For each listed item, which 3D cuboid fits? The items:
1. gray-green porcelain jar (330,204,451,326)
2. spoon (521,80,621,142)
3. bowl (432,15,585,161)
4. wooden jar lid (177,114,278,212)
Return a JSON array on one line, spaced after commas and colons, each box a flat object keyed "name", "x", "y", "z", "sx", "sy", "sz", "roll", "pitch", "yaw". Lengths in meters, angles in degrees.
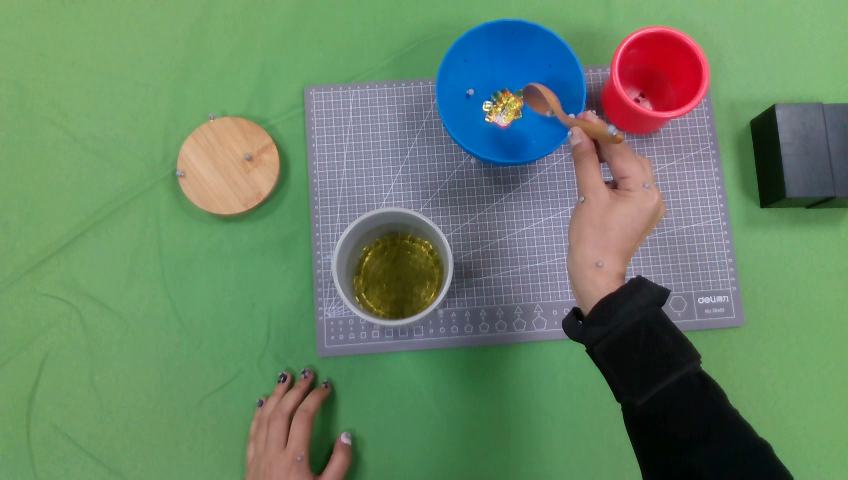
[{"name": "gray-green porcelain jar", "x": -0.028, "y": 0.030, "z": 0.583, "sx": 0.106, "sy": 0.127, "sz": 0.105, "roll": 0, "pitch": 81, "yaw": 0}, {"name": "spoon", "x": 0.125, "y": -0.111, "z": 0.534, "sx": 0.021, "sy": 0.192, "sz": 0.042, "roll": -36, "pitch": 115, "yaw": 9}, {"name": "bowl", "x": 0.084, "y": -0.146, "z": 0.634, "sx": 0.151, "sy": 0.077, "sz": 0.151, "roll": 0, "pitch": 81, "yaw": 0}, {"name": "wooden jar lid", "x": -0.211, "y": -0.082, "z": 0.657, "sx": 0.108, "sy": 0.021, "sz": 0.108, "roll": 0, "pitch": 81, "yaw": 1}]
